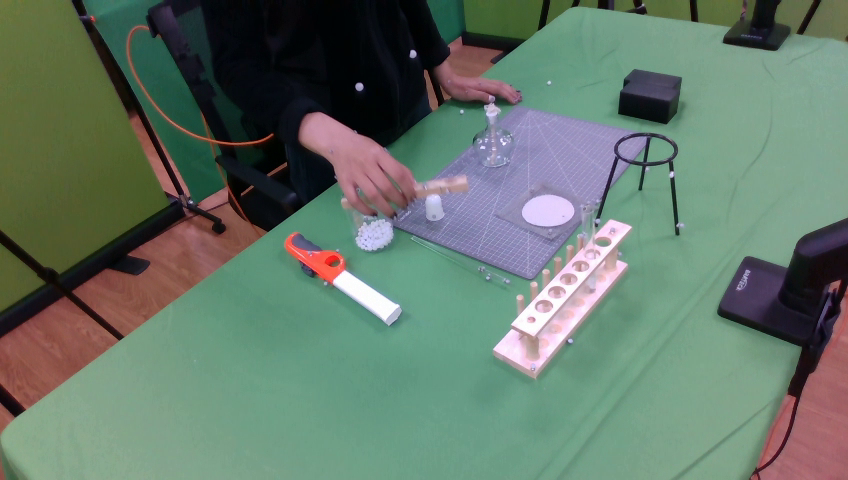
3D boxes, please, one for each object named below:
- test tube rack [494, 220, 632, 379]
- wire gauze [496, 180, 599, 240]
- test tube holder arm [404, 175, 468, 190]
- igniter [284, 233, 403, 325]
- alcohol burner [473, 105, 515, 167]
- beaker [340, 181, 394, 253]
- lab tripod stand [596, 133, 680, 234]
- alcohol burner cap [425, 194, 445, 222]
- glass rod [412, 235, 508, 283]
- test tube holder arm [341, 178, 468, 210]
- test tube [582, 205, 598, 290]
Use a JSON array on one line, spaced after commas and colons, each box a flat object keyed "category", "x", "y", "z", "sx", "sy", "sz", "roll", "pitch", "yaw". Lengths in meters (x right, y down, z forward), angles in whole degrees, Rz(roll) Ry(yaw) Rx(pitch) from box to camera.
[{"category": "test tube rack", "x": 0.191, "y": 0.068, "z": 0.818, "sx": 0.066, "sy": 0.085, "sz": 0.243, "roll": 25, "pitch": 51, "yaw": 35}, {"category": "wire gauze", "x": 0.206, "y": -0.050, "z": 1.012, "sx": 0.125, "sy": 0.011, "sz": 0.120, "roll": -34, "pitch": 45, "yaw": -26}, {"category": "test tube holder arm", "x": 0.016, "y": -0.072, "z": 0.814, "sx": 0.087, "sy": 0.015, "sz": 0.010, "roll": -9, "pitch": 32, "yaw": 12}, {"category": "igniter", "x": -0.136, "y": 0.054, "z": 0.942, "sx": 0.274, "sy": 0.025, "sz": 0.057, "roll": 29, "pitch": 63, "yaw": 37}, {"category": "alcohol burner", "x": 0.128, "y": -0.196, "z": 1.116, "sx": 0.078, "sy": 0.119, "sz": 0.077, "roll": -4, "pitch": 40, "yaw": 4}, {"category": "beaker", "x": -0.086, "y": -0.037, "z": 0.985, "sx": 0.084, "sy": 0.101, "sz": 0.073, "roll": -18, "pitch": 41, "yaw": -11}, {"category": "lab tripod stand", "x": 0.338, "y": -0.090, "z": 0.940, "sx": 0.148, "sy": 0.132, "sz": 0.147, "roll": -7, "pitch": 39, "yaw": 6}, {"category": "alcohol burner cap", "x": 0.017, "y": -0.057, "z": 1.029, "sx": 0.034, "sy": 0.048, "sz": 0.033, "roll": -6, "pitch": 39, "yaw": 5}, {"category": "glass rod", "x": 0.051, "y": 0.028, "z": 0.951, "sx": 0.198, "sy": 0.008, "sz": 0.008, "roll": 25, "pitch": 52, "yaw": 37}, {"category": "test tube holder arm", "x": -0.028, "y": -0.062, "z": 0.818, "sx": 0.178, "sy": 0.015, "sz": 0.013, "roll": -10, "pitch": 32, "yaw": 11}, {"category": "test tube", "x": 0.220, "y": 0.014, "z": 0.798, "sx": 0.017, "sy": 0.151, "sz": 0.017, "roll": -9, "pitch": 43, "yaw": 9}]
